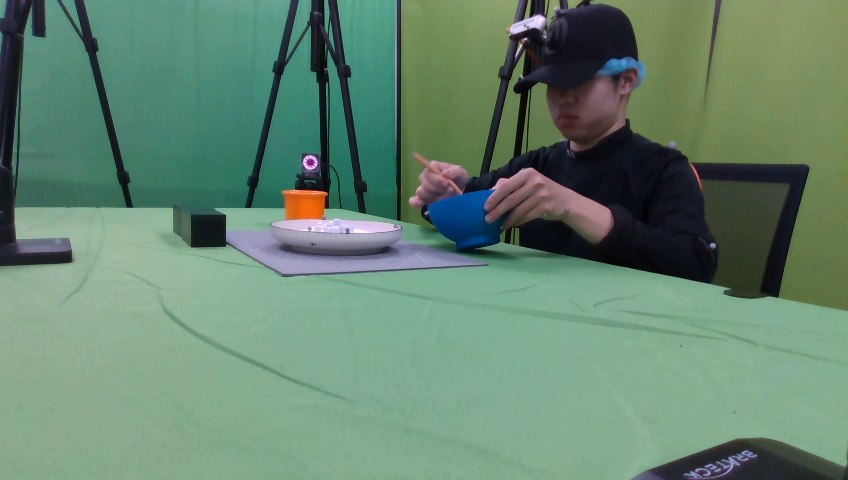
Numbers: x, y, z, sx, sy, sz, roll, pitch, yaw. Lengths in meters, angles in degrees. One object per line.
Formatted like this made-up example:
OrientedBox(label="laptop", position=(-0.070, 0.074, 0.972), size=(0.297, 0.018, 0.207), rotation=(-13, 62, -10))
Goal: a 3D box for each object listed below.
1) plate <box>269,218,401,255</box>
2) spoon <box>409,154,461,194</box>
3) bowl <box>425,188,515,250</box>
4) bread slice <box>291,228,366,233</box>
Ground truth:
OrientedBox(label="plate", position=(-0.140, -0.006, 0.958), size=(0.209, 0.038, 0.209), rotation=(3, 7, 0))
OrientedBox(label="spoon", position=(0.049, -0.083, 1.016), size=(0.193, 0.021, 0.042), rotation=(44, 21, 6))
OrientedBox(label="bowl", position=(0.082, -0.028, 0.998), size=(0.151, 0.076, 0.151), rotation=(-9, -8, -1))
OrientedBox(label="bread slice", position=(-0.143, -0.003, 0.953), size=(0.135, 0.018, 0.106), rotation=(-1, 8, -37))
